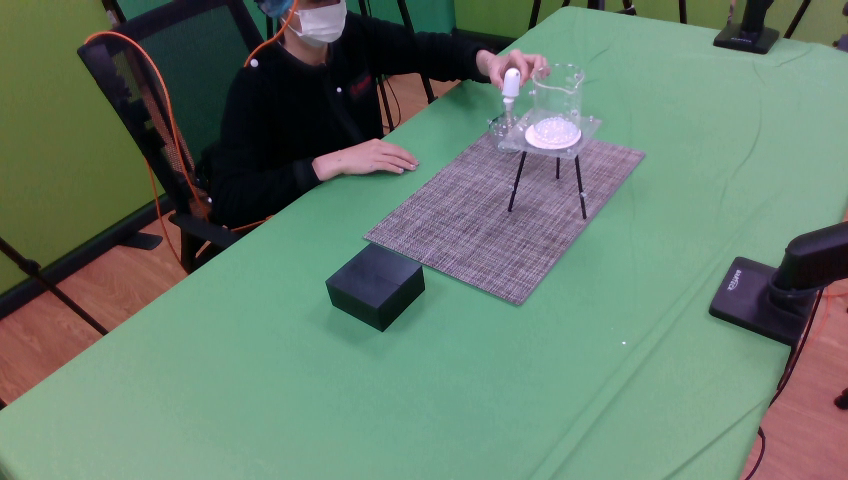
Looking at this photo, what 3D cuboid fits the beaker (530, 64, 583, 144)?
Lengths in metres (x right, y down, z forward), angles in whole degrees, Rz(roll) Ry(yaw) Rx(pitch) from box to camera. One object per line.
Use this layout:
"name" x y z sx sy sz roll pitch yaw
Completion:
"beaker" 0.201 -0.201 0.909 0.074 0.101 0.083 -19 43 -10

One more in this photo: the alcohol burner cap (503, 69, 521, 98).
"alcohol burner cap" 0.160 -0.284 1.092 0.034 0.048 0.033 0 35 0

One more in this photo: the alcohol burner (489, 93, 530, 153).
"alcohol burner" 0.160 -0.226 1.136 0.078 0.119 0.077 -6 41 5

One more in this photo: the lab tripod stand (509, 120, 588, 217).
"lab tripod stand" 0.208 -0.114 0.983 0.148 0.132 0.147 -5 42 5

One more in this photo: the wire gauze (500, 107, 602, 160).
"wire gauze" 0.199 -0.166 0.945 0.120 0.011 0.125 16 50 28
